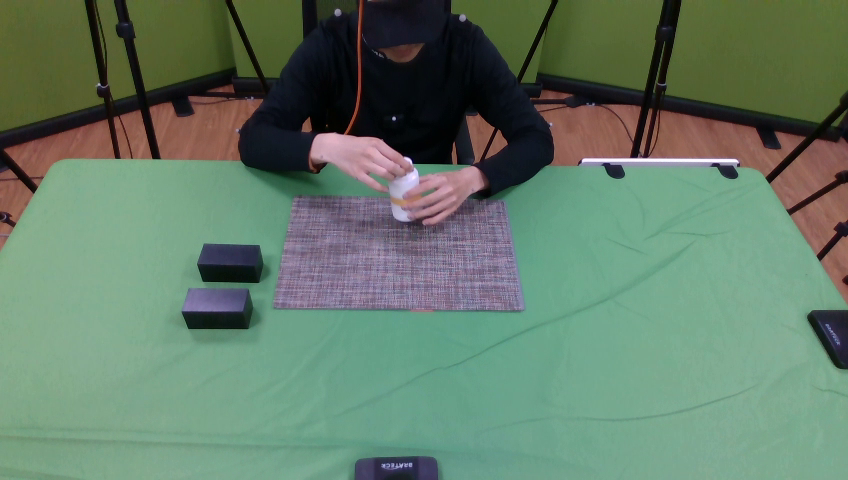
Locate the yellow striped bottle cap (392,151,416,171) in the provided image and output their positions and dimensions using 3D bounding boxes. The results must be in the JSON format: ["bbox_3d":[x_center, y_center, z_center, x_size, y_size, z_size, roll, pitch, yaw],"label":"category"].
[{"bbox_3d":[-0.038,-0.151,1.162,0.044,0.019,0.044,-11,41,10],"label":"yellow striped bottle cap"}]

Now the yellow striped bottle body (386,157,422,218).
[{"bbox_3d":[-0.041,-0.107,1.193,0.063,0.121,0.062,-4,40,3],"label":"yellow striped bottle body"}]
